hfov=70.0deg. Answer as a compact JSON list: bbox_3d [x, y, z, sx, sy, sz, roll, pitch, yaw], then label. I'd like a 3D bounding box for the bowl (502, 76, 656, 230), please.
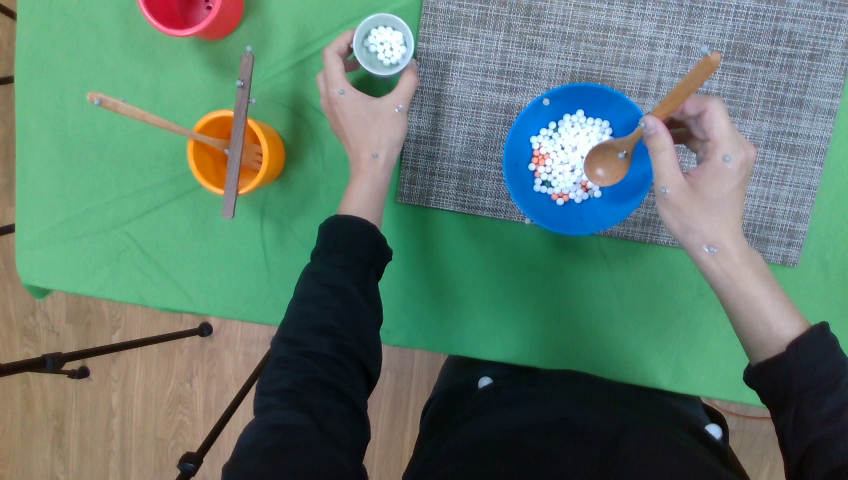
[{"bbox_3d":[0.157,-0.090,0.637,0.151,0.076,0.152,1,100,7],"label":"bowl"}]

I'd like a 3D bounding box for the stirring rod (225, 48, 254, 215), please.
[{"bbox_3d":[-0.195,-0.113,0.642,0.014,0.006,0.176,11,101,7],"label":"stirring rod"}]

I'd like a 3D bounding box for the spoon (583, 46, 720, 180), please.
[{"bbox_3d":[0.184,-0.098,0.505,0.021,0.194,0.041,-41,84,-17],"label":"spoon"}]

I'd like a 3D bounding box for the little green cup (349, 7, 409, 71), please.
[{"bbox_3d":[-0.045,-0.206,0.631,0.061,0.038,0.061,0,94,0],"label":"little green cup"}]

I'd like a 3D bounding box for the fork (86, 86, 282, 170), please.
[{"bbox_3d":[-0.249,-0.119,0.650,0.209,0.018,0.028,18,108,-40],"label":"fork"}]
